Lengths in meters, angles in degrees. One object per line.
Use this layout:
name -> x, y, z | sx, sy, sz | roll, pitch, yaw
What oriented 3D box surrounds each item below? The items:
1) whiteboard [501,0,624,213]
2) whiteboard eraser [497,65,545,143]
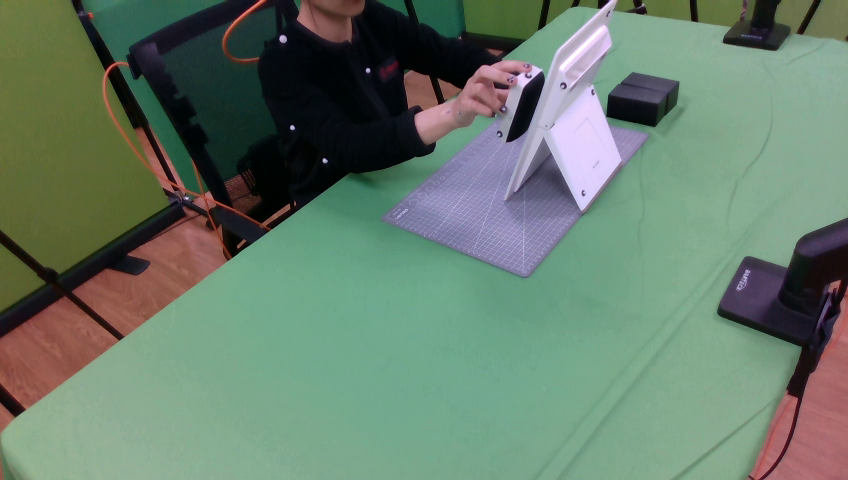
whiteboard -> 0.271, -0.189, 0.978 | 0.143, 0.306, 0.218 | 34, 53, 16
whiteboard eraser -> 0.145, -0.197, 0.894 | 0.041, 0.113, 0.056 | 33, 55, 14
